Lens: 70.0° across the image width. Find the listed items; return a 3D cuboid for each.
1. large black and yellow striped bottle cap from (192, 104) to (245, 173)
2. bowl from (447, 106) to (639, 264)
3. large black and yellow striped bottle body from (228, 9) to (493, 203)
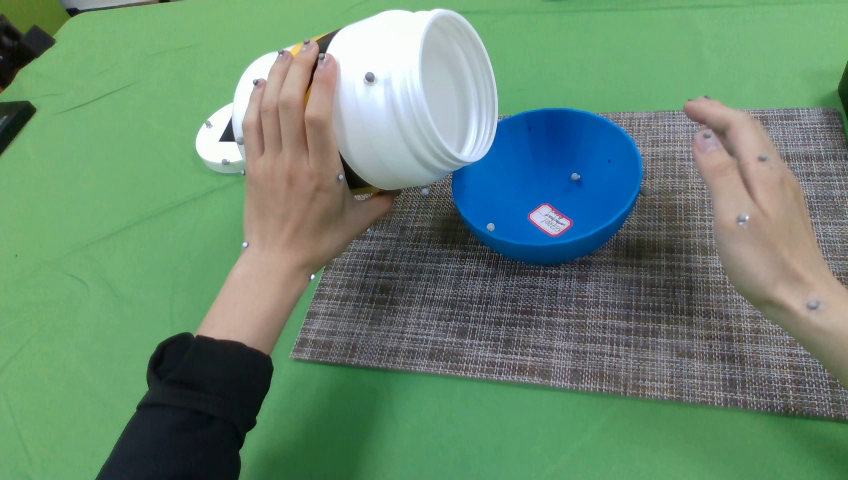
[{"bbox_3d":[-0.216,-0.125,0.714,0.115,0.019,0.114,-7,52,9],"label":"large black and yellow striped bottle cap"},{"bbox_3d":[0.100,-0.033,0.509,0.151,0.077,0.150,-7,52,10],"label":"bowl"},{"bbox_3d":[-0.049,-0.103,0.485,0.183,0.132,0.130,-5,50,35],"label":"large black and yellow striped bottle body"}]
